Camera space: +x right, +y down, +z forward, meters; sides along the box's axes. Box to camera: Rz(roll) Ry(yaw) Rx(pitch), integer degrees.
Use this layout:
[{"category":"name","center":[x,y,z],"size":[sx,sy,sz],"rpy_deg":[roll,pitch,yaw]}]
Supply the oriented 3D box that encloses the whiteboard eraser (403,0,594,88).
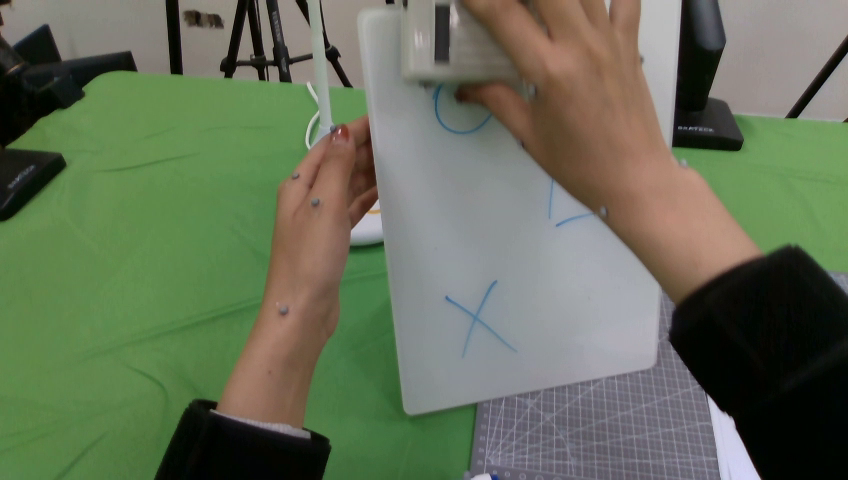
[{"category":"whiteboard eraser","center":[0.043,-0.120,0.365],"size":[0.113,0.056,0.041],"rpy_deg":[-3,21,-11]}]

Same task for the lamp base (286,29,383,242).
[{"category":"lamp base","center":[-0.082,-0.116,0.635],"size":[0.161,0.182,0.177],"rpy_deg":[-28,46,-28]}]

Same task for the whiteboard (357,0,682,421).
[{"category":"whiteboard","center":[0.066,-0.039,0.497],"size":[0.217,0.307,0.142],"rpy_deg":[-9,22,-8]}]

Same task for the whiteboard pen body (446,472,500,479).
[{"category":"whiteboard pen body","center":[-0.015,0.179,0.416],"size":[0.141,0.017,0.017],"rpy_deg":[-6,41,-10]}]
